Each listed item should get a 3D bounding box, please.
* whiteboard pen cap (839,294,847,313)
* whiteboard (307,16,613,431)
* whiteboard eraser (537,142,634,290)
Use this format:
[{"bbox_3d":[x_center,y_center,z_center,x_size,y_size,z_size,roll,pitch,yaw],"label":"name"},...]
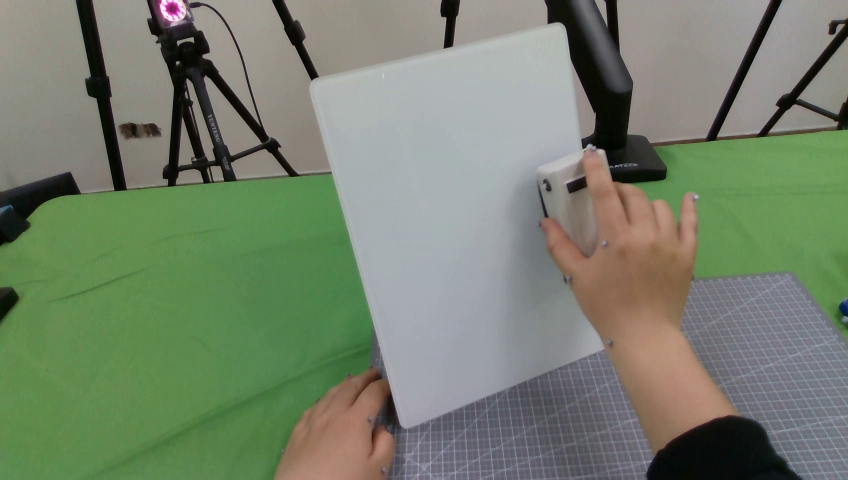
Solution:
[{"bbox_3d":[0.415,0.067,0.579,0.018,0.018,0.033,-6,35,1],"label":"whiteboard pen cap"},{"bbox_3d":[0.027,-0.023,0.568,0.217,0.307,0.142,-18,18,-14],"label":"whiteboard"},{"bbox_3d":[0.132,-0.019,0.500,0.055,0.113,0.041,-20,16,-7],"label":"whiteboard eraser"}]
